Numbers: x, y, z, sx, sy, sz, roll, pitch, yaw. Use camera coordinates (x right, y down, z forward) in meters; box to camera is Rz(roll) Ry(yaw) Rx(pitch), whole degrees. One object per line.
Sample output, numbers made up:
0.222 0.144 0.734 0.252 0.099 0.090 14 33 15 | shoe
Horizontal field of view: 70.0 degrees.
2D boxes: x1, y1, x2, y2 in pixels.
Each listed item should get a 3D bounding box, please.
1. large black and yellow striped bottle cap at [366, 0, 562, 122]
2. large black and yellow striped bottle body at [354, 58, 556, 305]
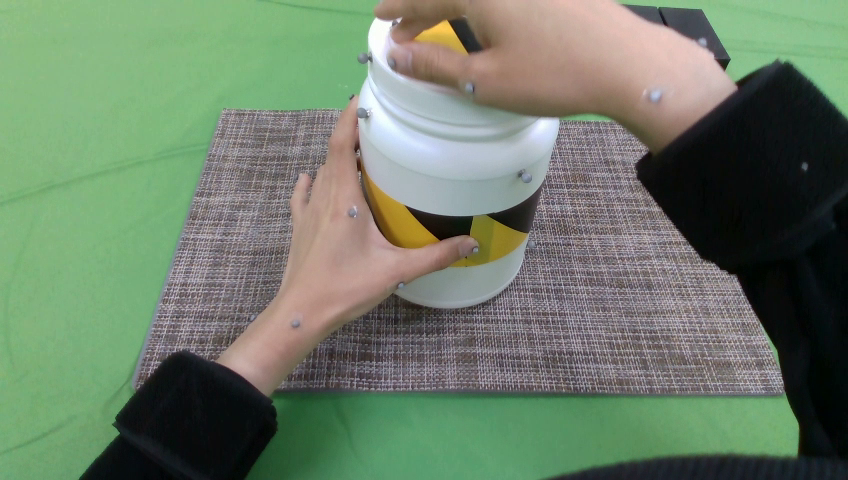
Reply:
0.023 -0.112 0.356 0.115 0.019 0.114 1 49 -1 | large black and yellow striped bottle cap
0.018 -0.056 0.423 0.131 0.185 0.129 2 50 -2 | large black and yellow striped bottle body
